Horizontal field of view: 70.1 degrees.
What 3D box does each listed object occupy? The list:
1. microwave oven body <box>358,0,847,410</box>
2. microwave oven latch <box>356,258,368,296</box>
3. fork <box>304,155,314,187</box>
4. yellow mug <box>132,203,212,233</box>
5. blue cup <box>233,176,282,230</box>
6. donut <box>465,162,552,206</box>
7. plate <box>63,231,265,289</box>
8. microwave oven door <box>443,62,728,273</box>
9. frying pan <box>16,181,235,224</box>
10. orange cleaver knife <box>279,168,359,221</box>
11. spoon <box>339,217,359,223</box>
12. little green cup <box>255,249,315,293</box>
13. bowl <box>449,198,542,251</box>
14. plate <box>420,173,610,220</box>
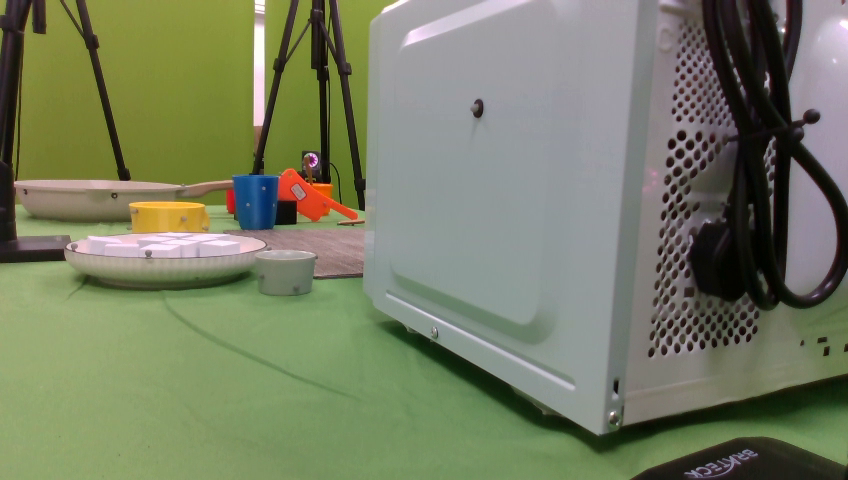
[{"bbox_3d":[0.210,-0.051,0.472,0.444,0.260,0.324,-1,7,-28],"label":"microwave oven body"},{"bbox_3d":[-0.019,0.031,0.528,0.079,0.029,0.030,-1,7,-24],"label":"microwave oven latch"},{"bbox_3d":[-0.268,-0.134,1.447,0.028,0.018,0.207,2,-36,-1],"label":"fork"},{"bbox_3d":[-0.356,-0.020,0.878,0.099,0.064,0.131,4,7,22],"label":"yellow mug"},{"bbox_3d":[-0.314,-0.071,1.141,0.093,0.100,0.092,0,7,0],"label":"blue cup"},{"bbox_3d":[0.094,-0.061,0.680,0.099,0.048,0.099,4,2,0],"label":"donut"},{"bbox_3d":[-0.288,0.021,0.687,0.208,0.039,0.207,2,8,0],"label":"plate"},{"bbox_3d":[0.189,-0.097,0.786,0.354,0.243,0.039,6,9,31],"label":"microwave oven door"},{"bbox_3d":[-0.554,-0.096,1.266,0.490,0.102,0.305,-10,13,-24],"label":"frying pan"},{"bbox_3d":[-0.236,-0.084,1.333,0.212,0.077,0.012,31,-10,-32],"label":"orange cleaver knife"},{"bbox_3d":[-0.087,-0.041,1.268,0.193,0.021,0.041,4,25,13],"label":"spoon"},{"bbox_3d":[-0.144,0.032,0.627,0.061,0.038,0.061,2,6,0],"label":"little green cup"},{"bbox_3d":[0.114,-0.025,0.988,0.151,0.077,0.151,2,8,0],"label":"bowl"},{"bbox_3d":[0.099,-0.049,0.675,0.209,0.038,0.209,5,7,0],"label":"plate"}]
